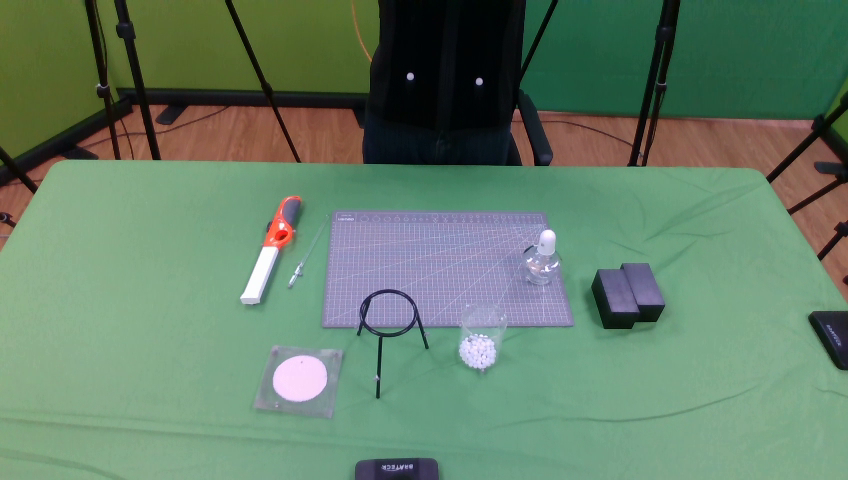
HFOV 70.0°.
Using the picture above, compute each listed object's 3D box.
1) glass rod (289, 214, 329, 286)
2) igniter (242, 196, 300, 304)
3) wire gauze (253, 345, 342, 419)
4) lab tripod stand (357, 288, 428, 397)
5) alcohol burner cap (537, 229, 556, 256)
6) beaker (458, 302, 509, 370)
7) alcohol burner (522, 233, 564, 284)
[{"bbox_3d":[-0.222,0.014,1.179,0.008,0.008,0.199,12,46,8],"label":"glass rod"},{"bbox_3d":[-0.290,0.010,1.164,0.057,0.025,0.275,0,45,10],"label":"igniter"},{"bbox_3d":[-0.200,0.224,0.979,0.125,0.011,0.121,7,47,0],"label":"wire gauze"},{"bbox_3d":[-0.058,0.155,0.967,0.148,0.132,0.147,3,47,-3],"label":"lab tripod stand"},{"bbox_3d":[0.223,0.001,1.095,0.034,0.048,0.033,-1,44,1],"label":"alcohol burner cap"},{"bbox_3d":[0.092,0.159,0.999,0.083,0.101,0.074,35,53,28],"label":"beaker"},{"bbox_3d":[0.223,0.027,1.121,0.078,0.119,0.077,2,48,-3],"label":"alcohol burner"}]
